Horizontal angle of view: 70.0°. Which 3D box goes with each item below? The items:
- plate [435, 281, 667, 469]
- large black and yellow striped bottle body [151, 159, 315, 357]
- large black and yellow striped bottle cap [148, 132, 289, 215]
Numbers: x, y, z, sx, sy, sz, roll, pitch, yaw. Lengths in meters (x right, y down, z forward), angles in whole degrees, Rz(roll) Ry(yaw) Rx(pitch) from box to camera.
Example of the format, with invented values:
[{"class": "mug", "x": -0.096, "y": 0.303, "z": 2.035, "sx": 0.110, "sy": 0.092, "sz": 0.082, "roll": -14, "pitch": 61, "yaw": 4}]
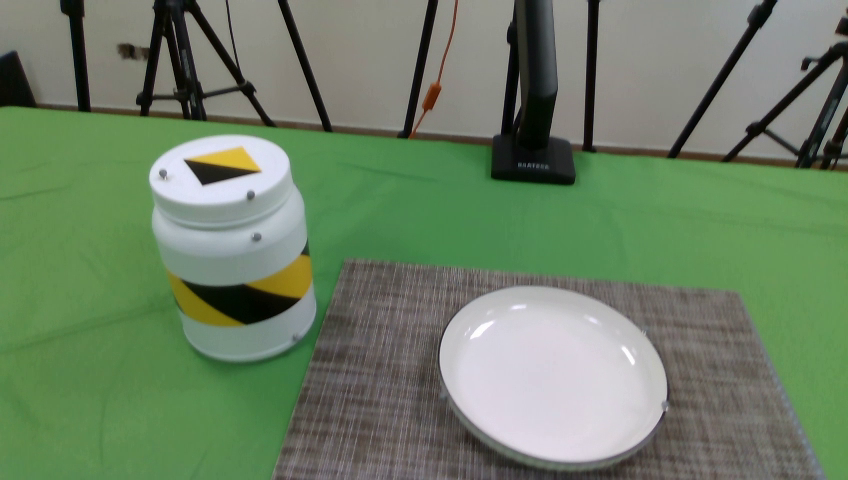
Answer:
[{"class": "plate", "x": 0.113, "y": 0.121, "z": 0.559, "sx": 0.208, "sy": 0.039, "sz": 0.205, "roll": 2, "pitch": 39, "yaw": -1}, {"class": "large black and yellow striped bottle body", "x": -0.177, "y": 0.006, "z": 0.573, "sx": 0.131, "sy": 0.185, "sz": 0.129, "roll": 2, "pitch": 39, "yaw": -1}, {"class": "large black and yellow striped bottle cap", "x": -0.175, "y": -0.060, "z": 0.520, "sx": 0.115, "sy": 0.019, "sz": 0.114, "roll": 3, "pitch": 37, "yaw": -2}]
